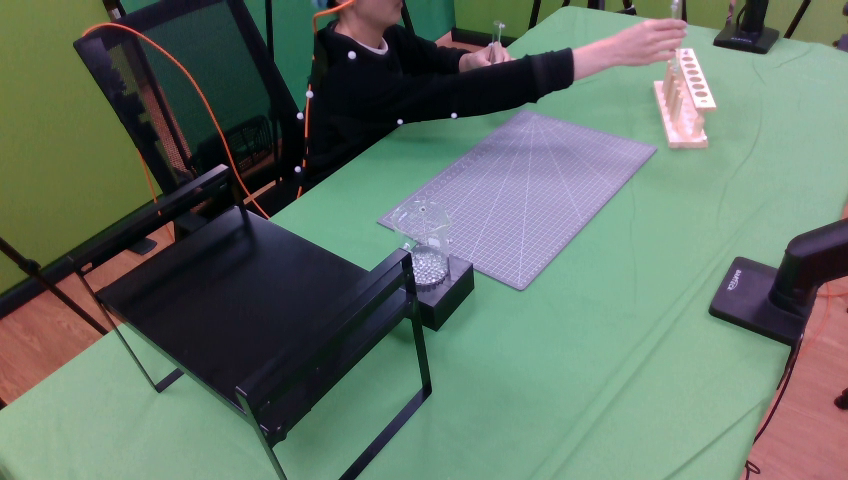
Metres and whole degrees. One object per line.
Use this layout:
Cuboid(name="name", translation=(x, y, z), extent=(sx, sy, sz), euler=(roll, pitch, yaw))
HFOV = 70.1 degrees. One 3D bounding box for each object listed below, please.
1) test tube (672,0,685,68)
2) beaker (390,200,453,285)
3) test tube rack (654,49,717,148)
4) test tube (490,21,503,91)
Cuboid(name="test tube", translation=(0.447, -0.370, 1.063), extent=(0.017, 0.151, 0.017), euler=(-10, 44, 10))
Cuboid(name="beaker", translation=(0.002, 0.006, 0.831), extent=(0.084, 0.101, 0.074), euler=(5, 42, 13))
Cuboid(name="test tube rack", translation=(0.502, -0.281, 1.176), extent=(0.066, 0.085, 0.241), euler=(2, 41, 11))
Cuboid(name="test tube", translation=(0.145, -0.368, 1.221), extent=(0.017, 0.151, 0.017), euler=(-1, 44, 1))
